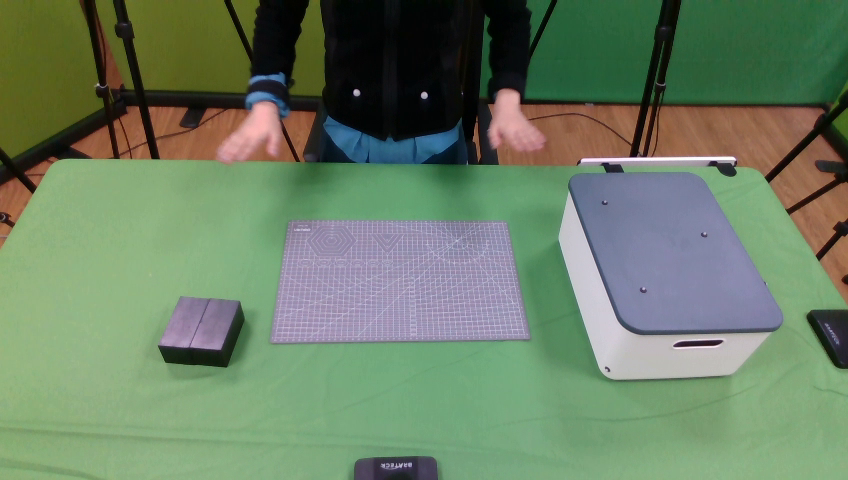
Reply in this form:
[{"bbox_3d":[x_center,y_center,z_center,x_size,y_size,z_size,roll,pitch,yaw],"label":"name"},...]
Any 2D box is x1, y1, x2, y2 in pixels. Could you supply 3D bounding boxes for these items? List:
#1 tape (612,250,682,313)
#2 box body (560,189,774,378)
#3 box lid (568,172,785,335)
[{"bbox_3d":[0.412,0.076,1.123,0.117,0.053,0.116,4,48,-4],"label":"tape"},{"bbox_3d":[0.405,0.057,1.074,0.254,0.161,0.361,-2,46,-5],"label":"box body"},{"bbox_3d":[0.407,0.007,1.019,0.263,0.015,0.369,-1,46,-5],"label":"box lid"}]
